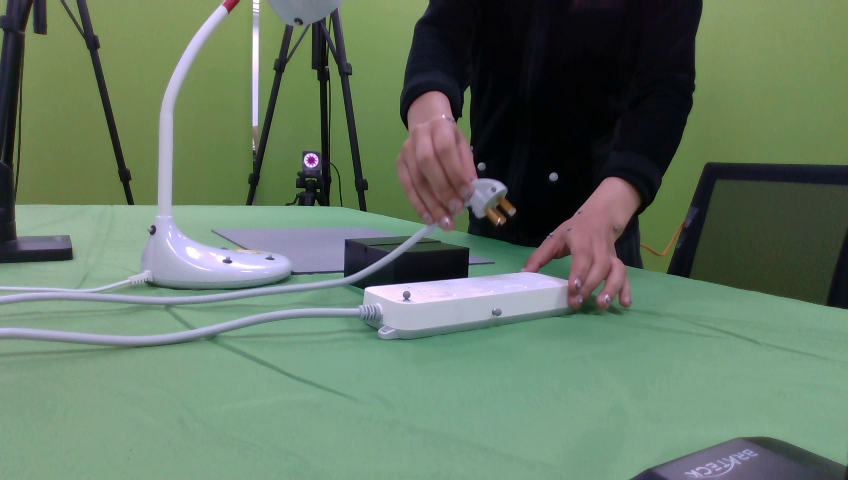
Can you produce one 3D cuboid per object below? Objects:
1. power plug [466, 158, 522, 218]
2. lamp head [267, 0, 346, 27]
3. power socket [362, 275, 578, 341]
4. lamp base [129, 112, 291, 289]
[{"bbox_3d":[0.060,-0.038,0.524,0.052,0.035,0.073,30,1,12],"label":"power plug"},{"bbox_3d":[-0.157,-0.326,0.701,0.112,0.112,0.123,6,-16,26],"label":"lamp head"},{"bbox_3d":[0.048,0.056,0.548,0.228,0.032,0.072,-2,8,-35],"label":"power socket"},{"bbox_3d":[-0.233,-0.045,0.658,0.160,0.180,0.180,7,11,29],"label":"lamp base"}]
